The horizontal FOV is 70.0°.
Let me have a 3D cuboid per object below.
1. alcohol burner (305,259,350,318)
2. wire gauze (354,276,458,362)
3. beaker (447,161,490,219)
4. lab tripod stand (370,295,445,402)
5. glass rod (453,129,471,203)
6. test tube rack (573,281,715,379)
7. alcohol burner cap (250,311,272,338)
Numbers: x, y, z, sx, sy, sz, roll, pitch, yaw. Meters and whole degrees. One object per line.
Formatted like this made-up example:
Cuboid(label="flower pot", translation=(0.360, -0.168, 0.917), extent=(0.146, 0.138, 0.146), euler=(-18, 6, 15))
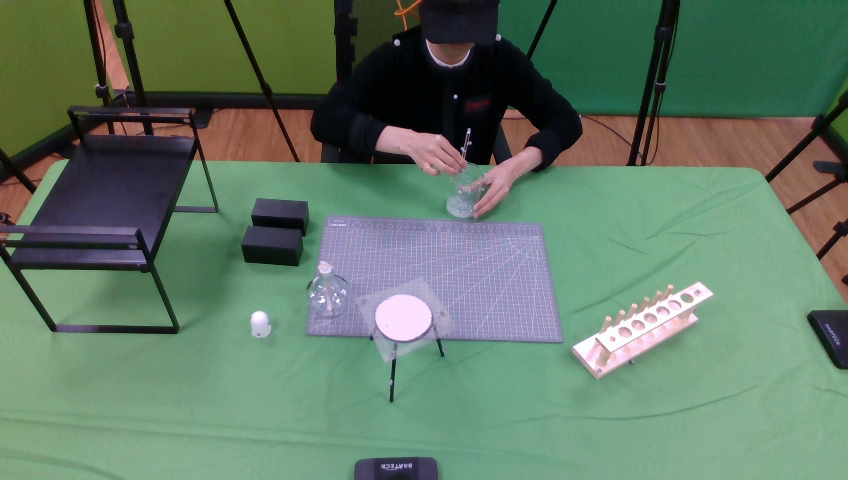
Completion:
Cuboid(label="alcohol burner", translation=(-0.166, 0.078, 1.040), extent=(0.078, 0.120, 0.077), euler=(1, 44, -1))
Cuboid(label="wire gauze", translation=(-0.029, 0.113, 0.912), extent=(0.121, 0.011, 0.124), euler=(-18, 49, -19))
Cuboid(label="beaker", translation=(0.088, -0.099, 1.243), extent=(0.084, 0.101, 0.073), euler=(5, 46, 1))
Cuboid(label="lab tripod stand", translation=(-0.036, 0.160, 0.959), extent=(0.148, 0.132, 0.147), euler=(1, 46, 0))
Cuboid(label="glass rod", translation=(0.075, -0.142, 1.204), extent=(0.008, 0.200, 0.008), euler=(4, 51, -5))
Cuboid(label="test tube rack", translation=(0.378, 0.140, 1.038), extent=(0.242, 0.085, 0.066), euler=(-22, 51, -22))
Cuboid(label="alcohol burner cap", translation=(-0.278, 0.141, 1.026), extent=(0.034, 0.048, 0.033), euler=(1, 47, -1))
